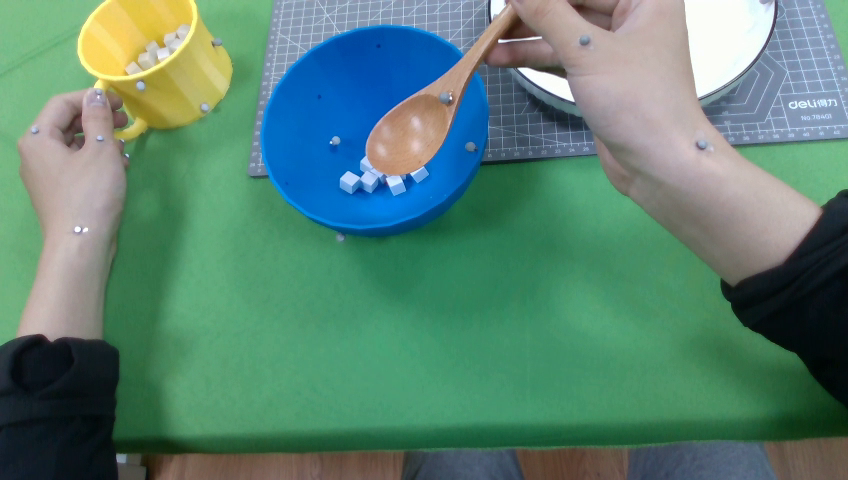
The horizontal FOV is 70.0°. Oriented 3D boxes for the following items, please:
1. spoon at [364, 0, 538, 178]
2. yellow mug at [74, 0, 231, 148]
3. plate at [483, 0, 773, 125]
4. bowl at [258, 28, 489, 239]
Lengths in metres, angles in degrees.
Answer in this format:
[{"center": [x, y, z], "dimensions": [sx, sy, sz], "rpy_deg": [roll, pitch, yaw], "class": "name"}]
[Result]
[{"center": [0.037, -0.108, 0.329], "dimensions": [0.194, 0.022, 0.041], "rpy_deg": [-47, 69, 16], "class": "spoon"}, {"center": [-0.227, -0.133, 0.494], "dimensions": [0.099, 0.064, 0.130], "rpy_deg": [19, 71, 17], "class": "yellow mug"}, {"center": [0.150, -0.171, 0.465], "dimensions": [0.209, 0.038, 0.207], "rpy_deg": [-3, 65, 7], "class": "plate"}, {"center": [-0.028, -0.061, 0.421], "dimensions": [0.151, 0.077, 0.150], "rpy_deg": [-3, 69, 8], "class": "bowl"}]
